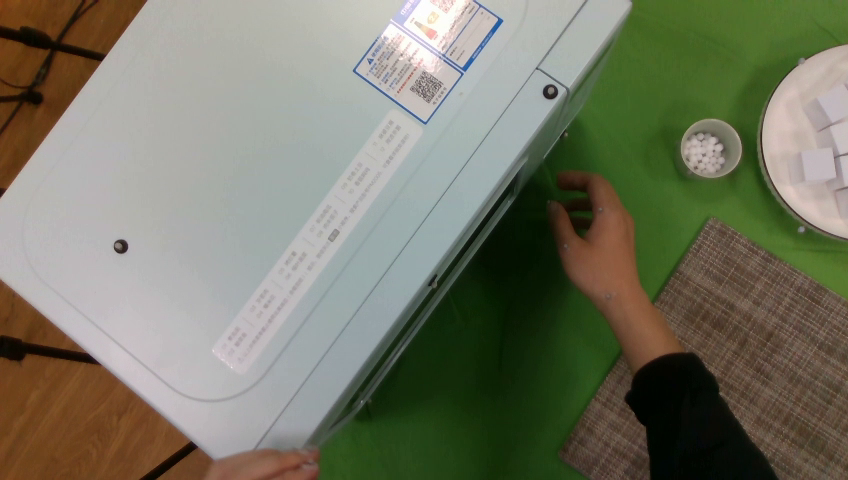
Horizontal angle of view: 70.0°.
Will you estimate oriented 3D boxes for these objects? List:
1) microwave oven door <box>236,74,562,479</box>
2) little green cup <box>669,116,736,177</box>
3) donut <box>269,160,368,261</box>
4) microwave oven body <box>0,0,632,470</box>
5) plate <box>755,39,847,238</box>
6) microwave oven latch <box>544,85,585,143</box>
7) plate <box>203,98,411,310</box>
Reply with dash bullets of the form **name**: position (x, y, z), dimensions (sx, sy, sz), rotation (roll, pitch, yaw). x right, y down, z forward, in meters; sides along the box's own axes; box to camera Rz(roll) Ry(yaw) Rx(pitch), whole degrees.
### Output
- **microwave oven door**: position (-0.008, 0.037, 0.536), dimensions (0.039, 0.244, 0.355), rotation (37, 90, 8)
- **little green cup**: position (0.291, -0.095, 0.638), dimensions (0.061, 0.039, 0.061), rotation (0, 86, 6)
- **donut**: position (-0.103, -0.029, 0.593), dimensions (0.099, 0.048, 0.099), rotation (0, 91, 6)
- **microwave oven body**: position (-0.098, -0.083, 0.558), dimensions (0.325, 0.261, 0.441), rotation (37, 90, 6)
- **plate**: position (0.447, -0.102, 0.627), dimensions (0.207, 0.039, 0.207), rotation (0, 86, 5)
- **microwave oven latch**: position (0.135, -0.131, 0.637), dimensions (0.030, 0.029, 0.079), rotation (40, 91, 6)
- **plate**: position (-0.115, -0.034, 0.607), dimensions (0.209, 0.038, 0.209), rotation (0, 89, 5)
